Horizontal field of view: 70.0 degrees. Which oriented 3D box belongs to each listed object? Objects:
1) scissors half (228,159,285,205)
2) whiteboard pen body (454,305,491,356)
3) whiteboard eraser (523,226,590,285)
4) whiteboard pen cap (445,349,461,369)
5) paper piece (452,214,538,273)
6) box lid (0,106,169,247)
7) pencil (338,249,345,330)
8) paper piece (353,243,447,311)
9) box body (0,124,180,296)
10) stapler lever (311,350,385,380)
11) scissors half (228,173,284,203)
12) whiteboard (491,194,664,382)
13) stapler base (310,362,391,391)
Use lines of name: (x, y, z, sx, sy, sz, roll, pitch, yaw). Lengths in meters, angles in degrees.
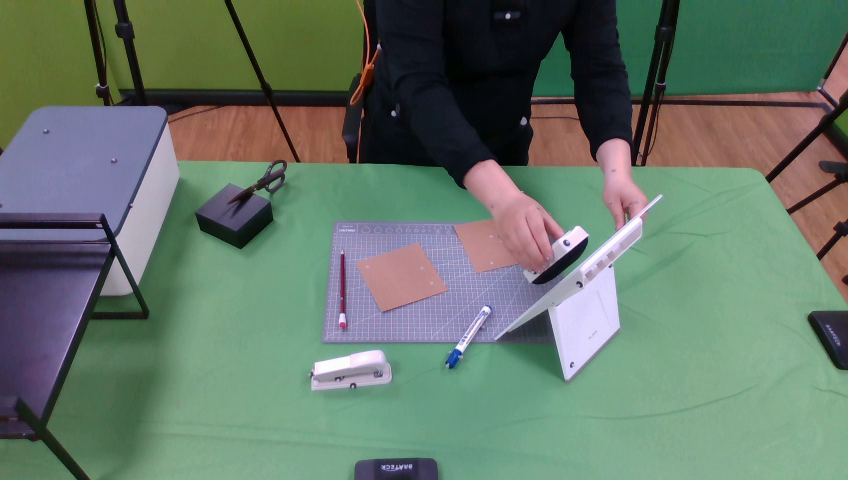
scissors half: (-0.335, -0.116, 1.217, 0.013, 0.040, 0.175, 27, 46, 11)
whiteboard pen body: (0.079, 0.163, 1.047, 0.017, 0.017, 0.140, 26, 50, 19)
whiteboard eraser: (0.195, 0.027, 0.889, 0.055, 0.113, 0.041, -28, 76, -33)
whiteboard pen cap: (0.049, 0.197, 1.011, 0.018, 0.018, 0.033, 23, 50, 17)
paper piece: (0.142, 0.003, 1.212, 0.135, 0.004, 0.135, -11, 48, -14)
box lid: (-0.624, -0.125, 1.067, 0.263, 0.015, 0.369, 0, 46, -3)
pencil: (-0.152, 0.085, 1.107, 0.012, 0.012, 0.192, -3, 45, -7)
paper piece: (-0.046, 0.067, 1.137, 0.136, 0.009, 0.137, -14, 47, -22)
box body: (-0.628, -0.075, 1.122, 0.254, 0.161, 0.361, 1, 46, -4)
stapler lever: (-0.120, 0.198, 0.962, 0.118, 0.040, 0.026, -5, 44, -8)
scissors half: (-0.339, -0.101, 1.229, 0.013, 0.040, 0.175, 23, 28, 15)
whiteboard: (0.280, 0.100, 0.968, 0.217, 0.306, 0.143, -33, 77, -31)
stapler base: (-0.120, 0.215, 0.980, 0.131, 0.024, 0.041, -5, 44, -7)
